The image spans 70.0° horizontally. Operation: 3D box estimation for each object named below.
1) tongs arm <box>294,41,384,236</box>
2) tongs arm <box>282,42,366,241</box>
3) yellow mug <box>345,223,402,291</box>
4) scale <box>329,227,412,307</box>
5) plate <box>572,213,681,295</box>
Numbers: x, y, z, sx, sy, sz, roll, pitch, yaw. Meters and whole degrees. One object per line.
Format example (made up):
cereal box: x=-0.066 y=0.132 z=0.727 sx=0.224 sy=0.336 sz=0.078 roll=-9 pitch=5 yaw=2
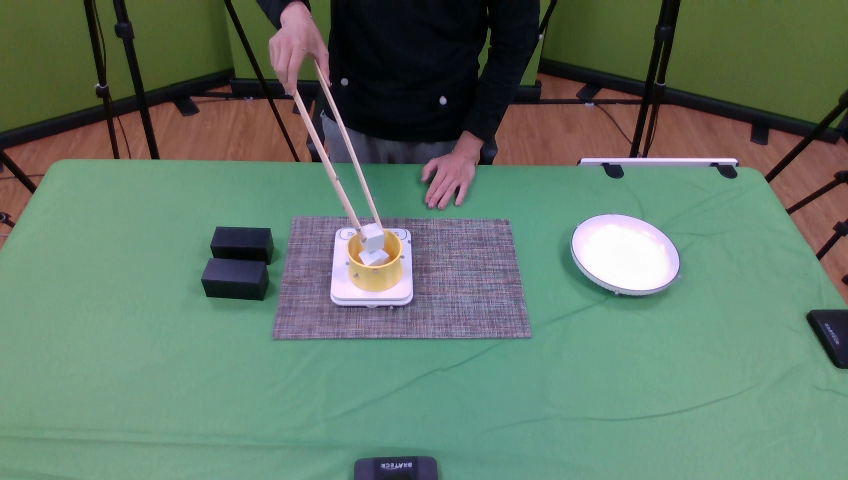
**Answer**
tongs arm: x=-0.149 y=-0.184 z=1.072 sx=0.028 sy=0.028 sz=0.386 roll=-20 pitch=79 yaw=-16
tongs arm: x=-0.170 y=-0.177 z=1.064 sx=0.051 sy=0.026 sz=0.383 roll=-24 pitch=80 yaw=-20
yellow mug: x=-0.092 y=0.022 z=1.093 sx=0.100 sy=0.064 sz=0.130 roll=-8 pitch=46 yaw=-10
scale: x=-0.099 y=0.042 z=1.139 sx=0.149 sy=0.032 sz=0.199 roll=1 pitch=46 yaw=-4
plate: x=0.392 y=0.030 z=1.189 sx=0.208 sy=0.039 sz=0.206 roll=2 pitch=46 yaw=-2
